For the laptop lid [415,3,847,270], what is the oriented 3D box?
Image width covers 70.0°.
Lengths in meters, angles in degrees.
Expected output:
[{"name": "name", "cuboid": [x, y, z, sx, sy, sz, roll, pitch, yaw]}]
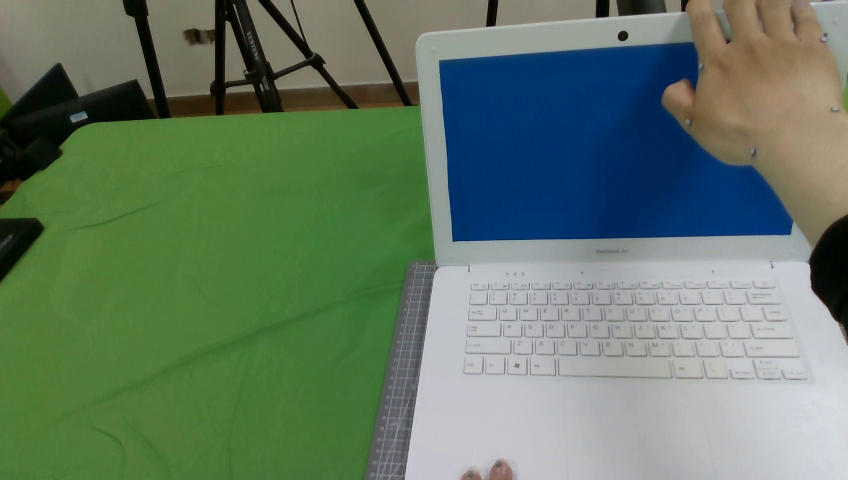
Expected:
[{"name": "laptop lid", "cuboid": [0.174, -0.074, 0.546, 0.356, 0.243, 0.013, -3, 26, 11]}]

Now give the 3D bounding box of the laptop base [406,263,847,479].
[{"name": "laptop base", "cuboid": [0.172, 0.113, 0.513, 0.354, 0.023, 0.233, -1, 47, 10]}]
